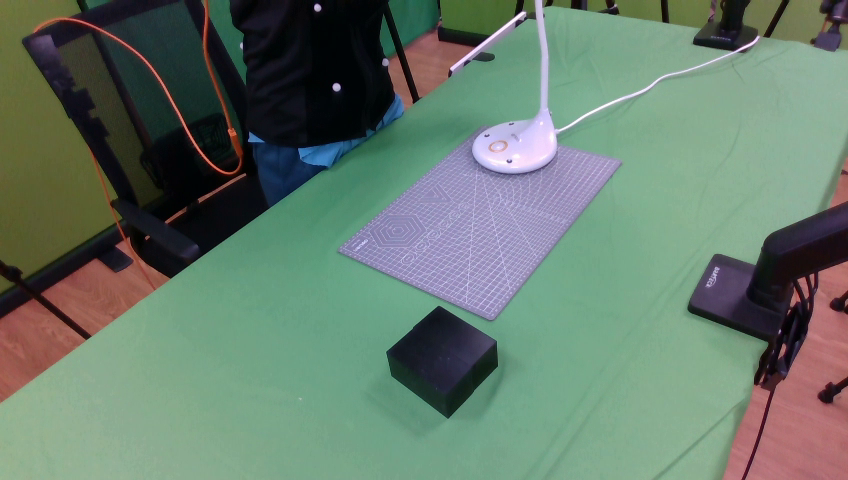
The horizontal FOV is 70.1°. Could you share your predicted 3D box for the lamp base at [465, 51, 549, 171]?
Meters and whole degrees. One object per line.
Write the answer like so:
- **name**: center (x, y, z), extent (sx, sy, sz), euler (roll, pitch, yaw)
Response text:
- **lamp base**: center (0.159, -0.243, 1.103), extent (0.180, 0.181, 0.159), euler (-31, 46, -29)
